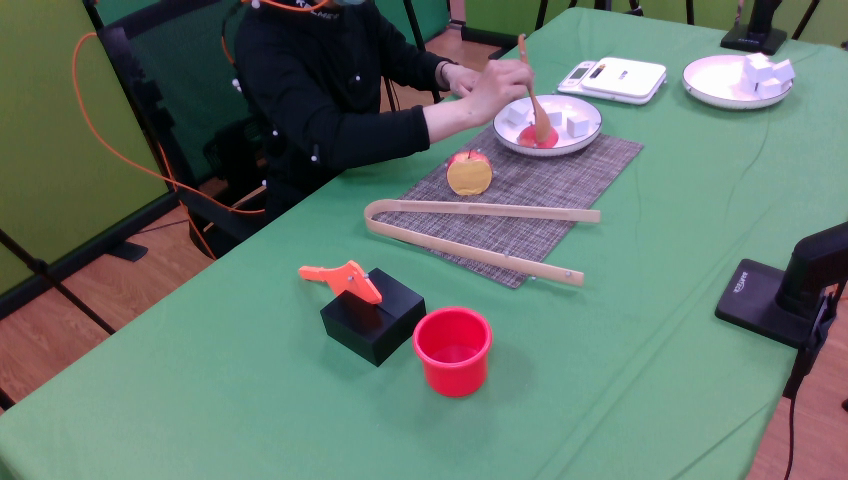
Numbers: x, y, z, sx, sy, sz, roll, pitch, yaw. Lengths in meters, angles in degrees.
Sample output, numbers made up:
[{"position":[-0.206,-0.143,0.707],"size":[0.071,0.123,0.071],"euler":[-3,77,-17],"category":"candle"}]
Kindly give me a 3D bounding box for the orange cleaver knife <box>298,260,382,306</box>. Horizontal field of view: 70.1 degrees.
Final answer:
[{"position":[-0.125,0.063,0.876],"size":[0.012,0.077,0.210],"euler":[-38,19,-30],"category":"orange cleaver knife"}]

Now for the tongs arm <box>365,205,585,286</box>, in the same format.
[{"position":[0.067,0.004,0.951],"size":[0.382,0.026,0.051],"euler":[13,46,23],"category":"tongs arm"}]

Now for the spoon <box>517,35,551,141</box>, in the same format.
[{"position":[0.194,-0.270,1.085],"size":[0.042,0.194,0.021],"euler":[-31,21,-27],"category":"spoon"}]

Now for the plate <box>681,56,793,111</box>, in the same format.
[{"position":[0.636,-0.317,1.239],"size":[0.207,0.039,0.206],"euler":[-4,40,4],"category":"plate"}]

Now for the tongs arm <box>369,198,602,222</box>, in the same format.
[{"position":[0.097,-0.048,1.008],"size":[0.386,0.028,0.028],"euler":[3,46,13],"category":"tongs arm"}]

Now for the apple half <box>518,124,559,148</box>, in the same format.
[{"position":[0.221,-0.207,1.160],"size":[0.081,0.033,0.081],"euler":[-6,43,6],"category":"apple half"}]

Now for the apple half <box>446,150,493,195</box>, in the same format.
[{"position":[0.080,-0.123,1.065],"size":[0.081,0.075,0.053],"euler":[-7,36,7],"category":"apple half"}]

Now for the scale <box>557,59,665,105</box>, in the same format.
[{"position":[0.407,-0.348,1.314],"size":[0.199,0.032,0.149],"euler":[19,47,28],"category":"scale"}]

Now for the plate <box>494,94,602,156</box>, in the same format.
[{"position":[0.240,-0.220,1.181],"size":[0.209,0.038,0.208],"euler":[-4,41,4],"category":"plate"}]
